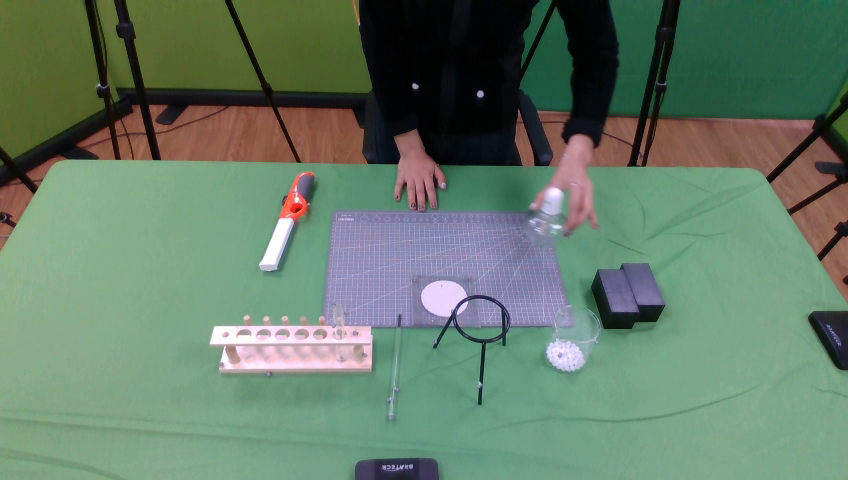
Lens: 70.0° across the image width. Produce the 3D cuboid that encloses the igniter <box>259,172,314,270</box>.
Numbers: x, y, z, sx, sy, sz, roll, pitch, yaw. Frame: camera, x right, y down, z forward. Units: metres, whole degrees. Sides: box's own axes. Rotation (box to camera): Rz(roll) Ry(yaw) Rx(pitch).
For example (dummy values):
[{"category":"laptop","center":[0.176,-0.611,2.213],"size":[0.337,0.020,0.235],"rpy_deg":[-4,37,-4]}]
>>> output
[{"category":"igniter","center":[-0.273,-0.046,1.220],"size":[0.057,0.025,0.275],"rpy_deg":[0,45,10]}]

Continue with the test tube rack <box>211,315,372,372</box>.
[{"category":"test tube rack","center":[-0.208,0.164,0.982],"size":[0.242,0.085,0.066],"rpy_deg":[1,46,-4]}]

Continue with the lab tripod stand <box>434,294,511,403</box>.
[{"category":"lab tripod stand","center":[0.087,0.164,0.969],"size":[0.148,0.132,0.147],"rpy_deg":[3,47,-3]}]

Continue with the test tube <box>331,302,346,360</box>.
[{"category":"test tube","center":[-0.132,0.144,0.938],"size":[0.017,0.151,0.017],"rpy_deg":[2,49,-3]}]

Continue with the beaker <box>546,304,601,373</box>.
[{"category":"beaker","center":[0.242,0.167,1.001],"size":[0.084,0.101,0.073],"rpy_deg":[-32,55,-28]}]

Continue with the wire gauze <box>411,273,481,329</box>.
[{"category":"wire gauze","center":[0.038,0.108,1.103],"size":[0.125,0.011,0.120],"rpy_deg":[2,47,-3]}]

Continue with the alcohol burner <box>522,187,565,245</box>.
[{"category":"alcohol burner","center":[0.220,-0.048,1.101],"size":[0.078,0.119,0.077],"rpy_deg":[2,45,-2]}]

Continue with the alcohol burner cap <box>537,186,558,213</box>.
[{"category":"alcohol burner cap","center":[0.221,-0.075,1.077],"size":[0.034,0.048,0.033],"rpy_deg":[2,42,-2]}]

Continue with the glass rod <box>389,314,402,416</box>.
[{"category":"glass rod","center":[-0.048,0.203,1.008],"size":[0.008,0.008,0.198],"rpy_deg":[4,45,0]}]
